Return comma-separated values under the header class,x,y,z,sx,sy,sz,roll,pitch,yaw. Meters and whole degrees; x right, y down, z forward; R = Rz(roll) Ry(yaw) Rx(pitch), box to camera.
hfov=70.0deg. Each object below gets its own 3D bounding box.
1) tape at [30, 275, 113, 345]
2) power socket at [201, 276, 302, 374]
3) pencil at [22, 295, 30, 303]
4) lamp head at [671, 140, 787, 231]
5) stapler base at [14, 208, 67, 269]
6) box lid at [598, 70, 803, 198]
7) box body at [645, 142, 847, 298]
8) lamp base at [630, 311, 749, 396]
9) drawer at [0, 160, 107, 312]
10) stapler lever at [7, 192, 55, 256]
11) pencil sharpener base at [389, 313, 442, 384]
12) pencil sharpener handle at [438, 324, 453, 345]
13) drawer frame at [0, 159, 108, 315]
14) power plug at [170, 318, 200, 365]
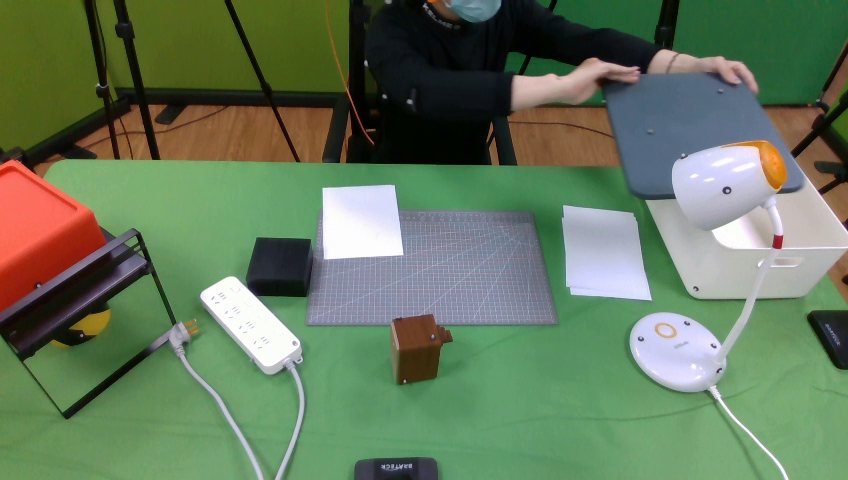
class,x,y,z,sx,sy,sz,roll,pitch,yaw
tape,-0.593,0.117,1.021,0.117,0.053,0.116,3,46,-2
power socket,-0.297,0.141,1.034,0.072,0.033,0.225,-34,58,-30
pencil,-0.590,0.010,0.883,0.012,0.012,0.193,-17,61,-19
lamp head,0.415,-0.078,0.811,0.113,0.123,0.112,12,70,-37
stapler base,-0.577,-0.010,0.903,0.041,0.024,0.130,-31,57,-25
box lid,0.456,-0.196,1.046,0.263,0.015,0.369,-1,43,6
box body,0.609,-0.062,1.204,0.254,0.161,0.361,-1,46,-4
lamp base,0.447,0.143,0.983,0.161,0.181,0.178,-24,55,-24
drawer,-0.610,-0.001,0.866,0.194,0.073,0.211,29,52,21
stapler lever,-0.575,-0.026,0.885,0.027,0.040,0.117,-31,56,-25
pencil sharpener base,-0.013,0.175,0.971,0.077,0.107,0.061,-8,47,-11
pencil sharpener handle,0.036,0.155,0.976,0.031,0.068,0.036,-8,69,-11
drawer frame,-0.611,0.000,0.863,0.201,0.083,0.213,27,51,20
power plug,-0.392,0.167,1.014,0.052,0.035,0.072,-30,91,-23
